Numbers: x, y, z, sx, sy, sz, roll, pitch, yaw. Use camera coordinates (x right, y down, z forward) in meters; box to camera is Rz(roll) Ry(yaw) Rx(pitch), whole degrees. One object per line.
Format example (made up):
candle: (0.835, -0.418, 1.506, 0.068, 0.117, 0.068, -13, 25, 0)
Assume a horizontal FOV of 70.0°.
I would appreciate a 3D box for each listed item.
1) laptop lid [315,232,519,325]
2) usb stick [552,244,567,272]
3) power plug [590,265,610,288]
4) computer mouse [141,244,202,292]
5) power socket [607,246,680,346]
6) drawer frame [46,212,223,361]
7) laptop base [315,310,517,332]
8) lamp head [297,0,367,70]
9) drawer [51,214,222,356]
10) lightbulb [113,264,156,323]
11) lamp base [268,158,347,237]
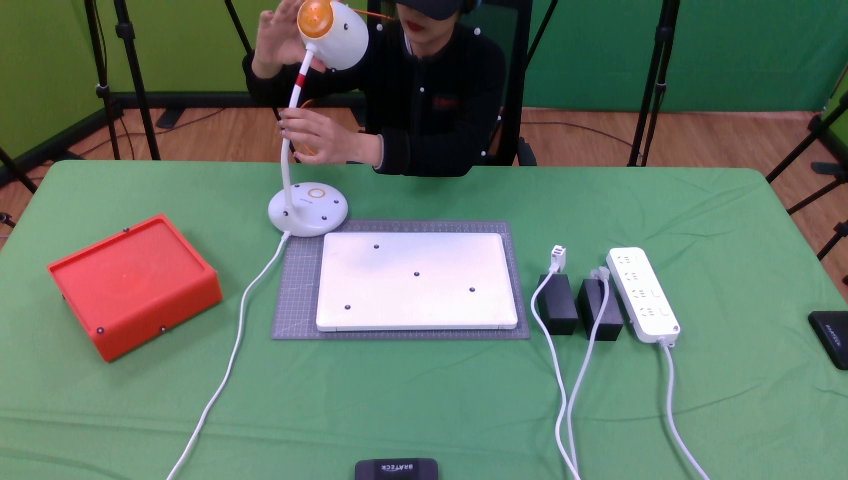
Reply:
laptop lid: (-0.015, 0.065, 1.118, 0.357, 0.013, 0.240, 1, 43, -3)
usb stick: (0.251, 0.039, 1.124, 0.021, 0.059, 0.027, 14, 47, 25)
power plug: (0.318, 0.073, 1.108, 0.035, 0.053, 0.072, 26, 34, 13)
computer mouse: (-0.459, 0.044, 1.099, 0.116, 0.041, 0.063, 30, 52, 29)
power socket: (0.403, 0.096, 1.123, 0.072, 0.033, 0.225, -3, 46, -5)
drawer frame: (-0.495, 0.072, 1.049, 0.213, 0.083, 0.200, -33, 56, -29)
laptop base: (-0.016, 0.075, 1.125, 0.355, 0.023, 0.234, 0, 42, -4)
lamp head: (-0.170, -0.362, 1.051, 0.112, 0.112, 0.123, 19, 9, 14)
drawer: (-0.494, 0.072, 1.053, 0.212, 0.073, 0.193, -32, 57, -29)
lightbulb: (-0.493, 0.091, 1.045, 0.059, 0.060, 0.107, 9, 62, 5)
lamp base: (-0.237, -0.112, 1.177, 0.160, 0.181, 0.178, 13, 47, 9)
